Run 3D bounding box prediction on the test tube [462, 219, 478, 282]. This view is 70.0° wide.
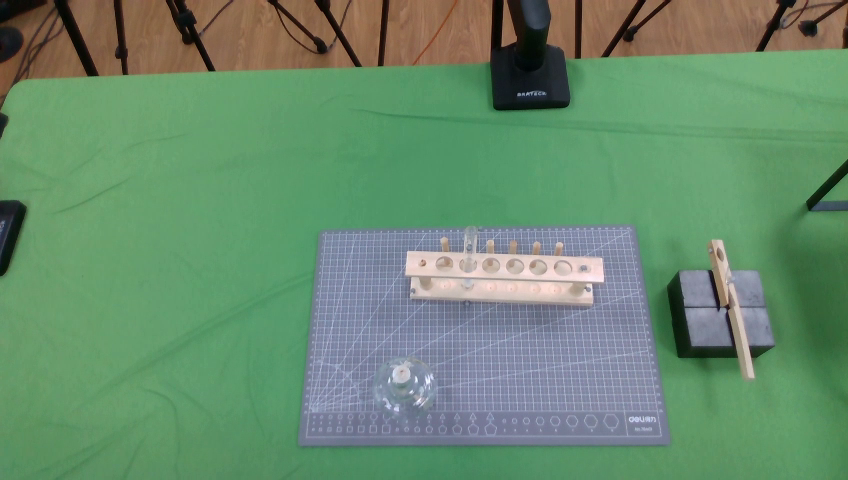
[{"bbox_3d":[0.055,0.016,0.742,0.017,0.151,0.017,-1,63,2],"label":"test tube"}]

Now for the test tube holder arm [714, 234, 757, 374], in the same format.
[{"bbox_3d":[0.378,0.075,0.743,0.013,0.015,0.177,-4,66,-3],"label":"test tube holder arm"}]

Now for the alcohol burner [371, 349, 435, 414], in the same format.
[{"bbox_3d":[-0.025,0.162,0.715,0.078,0.120,0.077,0,63,1],"label":"alcohol burner"}]

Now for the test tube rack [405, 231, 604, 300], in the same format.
[{"bbox_3d":[0.102,0.028,0.789,0.242,0.086,0.066,2,65,4],"label":"test tube rack"}]

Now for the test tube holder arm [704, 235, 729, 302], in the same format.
[{"bbox_3d":[0.369,0.035,0.761,0.010,0.015,0.087,-3,65,-3],"label":"test tube holder arm"}]
